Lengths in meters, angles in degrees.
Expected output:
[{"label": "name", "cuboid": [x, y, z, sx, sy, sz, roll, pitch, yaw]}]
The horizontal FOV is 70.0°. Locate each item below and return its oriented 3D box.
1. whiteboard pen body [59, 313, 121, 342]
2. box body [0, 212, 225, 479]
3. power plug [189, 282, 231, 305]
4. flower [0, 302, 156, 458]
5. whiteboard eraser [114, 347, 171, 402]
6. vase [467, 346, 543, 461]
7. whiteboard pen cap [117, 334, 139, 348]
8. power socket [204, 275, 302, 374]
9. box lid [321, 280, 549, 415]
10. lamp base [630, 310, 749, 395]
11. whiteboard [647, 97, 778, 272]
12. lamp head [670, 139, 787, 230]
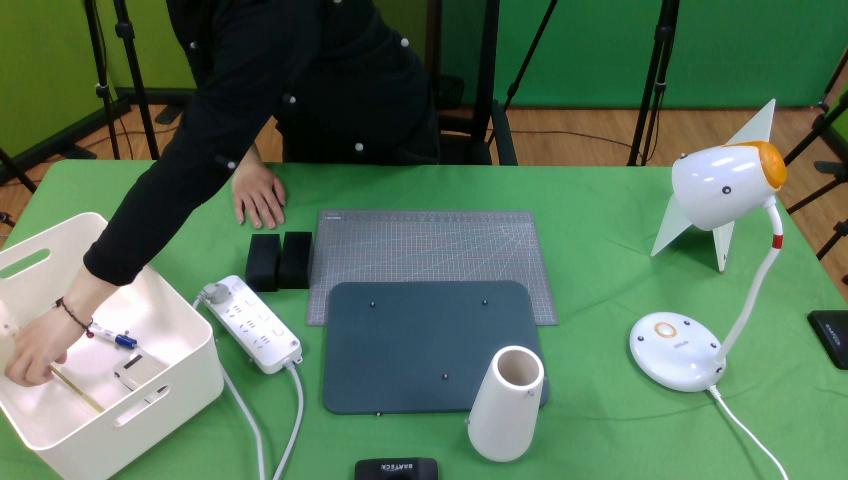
[{"label": "whiteboard pen body", "cuboid": [-0.544, 0.149, 1.007, 0.140, 0.017, 0.017, 17, 48, 10]}, {"label": "box body", "cuboid": [-0.506, 0.155, 0.915, 0.362, 0.161, 0.254, 35, 54, 26]}, {"label": "power plug", "cuboid": [-0.368, 0.097, 1.039, 0.072, 0.053, 0.035, -26, 55, -21]}, {"label": "flower", "cuboid": [-0.550, 0.220, 0.941, 0.361, 0.038, 0.044, 38, 58, 8]}, {"label": "whiteboard eraser", "cuboid": [-0.420, 0.215, 0.936, 0.112, 0.042, 0.055, 25, 49, 22]}, {"label": "vase", "cuboid": [0.116, 0.235, 0.860, 0.098, 0.201, 0.097, 1, 47, -1]}, {"label": "whiteboard pen cap", "cuboid": [-0.489, 0.166, 0.997, 0.033, 0.018, 0.018, 16, 47, 11]}, {"label": "power socket", "cuboid": [-0.296, 0.140, 1.035, 0.072, 0.033, 0.225, -33, 57, -30]}, {"label": "box lid", "cuboid": [0.013, 0.174, 1.040, 0.372, 0.015, 0.261, 0, 47, -4]}, {"label": "lamp base", "cuboid": [0.447, 0.143, 0.984, 0.161, 0.181, 0.178, -24, 55, -24]}, {"label": "whiteboard", "cuboid": [0.602, -0.079, 1.162, 0.144, 0.306, 0.216, 35, 51, 2]}, {"label": "lamp head", "cuboid": [0.415, -0.078, 0.811, 0.113, 0.123, 0.112, 12, 70, -37]}]
